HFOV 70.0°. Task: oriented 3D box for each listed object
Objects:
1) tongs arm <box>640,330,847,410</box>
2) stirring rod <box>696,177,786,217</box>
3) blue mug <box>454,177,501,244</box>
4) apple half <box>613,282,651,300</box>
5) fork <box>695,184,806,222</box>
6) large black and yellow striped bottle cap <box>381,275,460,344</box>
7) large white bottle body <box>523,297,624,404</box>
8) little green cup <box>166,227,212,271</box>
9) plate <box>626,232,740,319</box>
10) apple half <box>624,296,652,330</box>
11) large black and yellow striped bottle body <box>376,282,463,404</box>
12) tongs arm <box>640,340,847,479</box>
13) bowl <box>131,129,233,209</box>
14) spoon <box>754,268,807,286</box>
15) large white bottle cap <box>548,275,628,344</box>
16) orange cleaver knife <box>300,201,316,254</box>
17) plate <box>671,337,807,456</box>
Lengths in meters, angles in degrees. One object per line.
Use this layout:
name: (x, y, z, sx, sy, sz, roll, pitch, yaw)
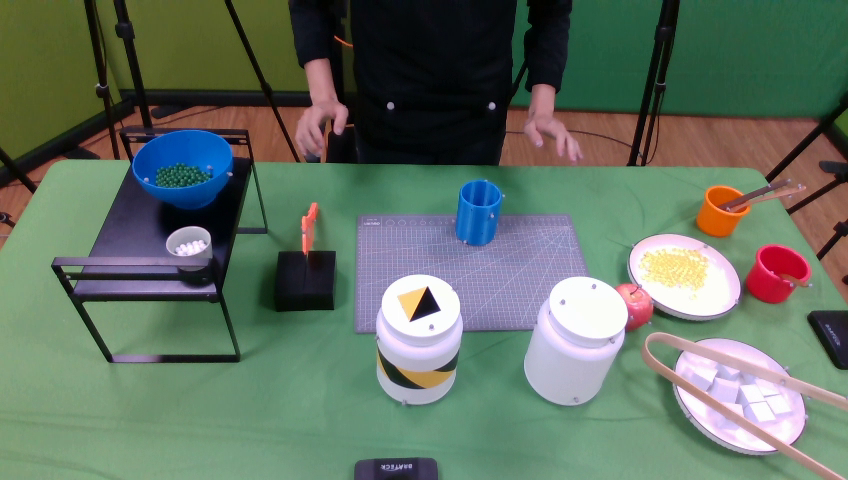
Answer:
tongs arm: (0.543, 0.225, 0.969, 0.384, 0.026, 0.050, 22, 52, 13)
stirring rod: (0.648, -0.087, 1.244, 0.176, 0.006, 0.014, -25, 50, 29)
blue mug: (0.106, -0.067, 1.208, 0.082, 0.106, 0.116, 6, 46, 1)
apple half: (0.356, 0.109, 1.086, 0.081, 0.075, 0.053, -14, 44, -12)
fork: (0.658, -0.074, 1.230, 0.207, 0.019, 0.028, -24, 33, 36)
large black and yellow striped bottle cap: (-0.005, 0.098, 0.875, 0.115, 0.019, 0.114, 2, 45, -1)
large white bottle body: (0.235, 0.159, 0.952, 0.131, 0.185, 0.130, 2, 47, -2)
little green cup: (-0.344, 0.014, 0.895, 0.061, 0.039, 0.061, 3, 46, -3)
plate: (0.488, 0.071, 1.157, 0.209, 0.038, 0.208, 3, 46, -3)
apple half: (0.368, 0.135, 1.060, 0.081, 0.081, 0.032, -11, 43, -15)
large black and yellow striped bottle body: (-0.010, 0.155, 0.937, 0.131, 0.185, 0.130, 2, 47, -2)
tongs arm: (0.500, 0.277, 0.919, 0.386, 0.028, 0.028, 34, 59, 22)
bowl: (-0.381, -0.103, 0.978, 0.151, 0.077, 0.150, 2, 46, -2)
spoon: (0.647, 0.065, 1.100, 0.041, 0.021, 0.194, 15, 3, 10)
large white bottle cap: (0.240, 0.100, 0.890, 0.115, 0.018, 0.114, 3, 47, -3)
orange cleaver knife: (-0.221, -0.027, 1.160, 0.012, 0.077, 0.210, -1, 15, -4)
plate: (0.503, 0.254, 0.984, 0.208, 0.039, 0.206, 2, 46, -2)
